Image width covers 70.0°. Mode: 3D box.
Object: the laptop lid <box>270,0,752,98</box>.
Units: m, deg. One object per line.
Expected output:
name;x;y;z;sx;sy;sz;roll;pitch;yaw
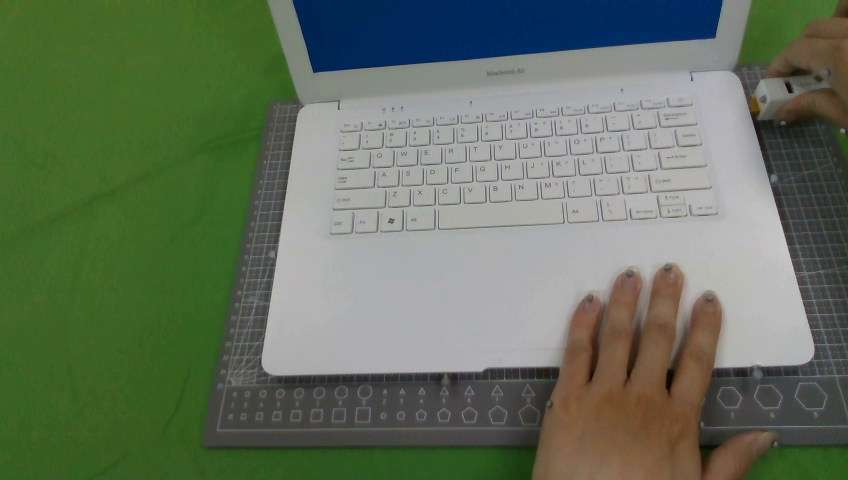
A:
laptop lid;0.054;-0.209;0.416;0.356;0.244;0.013;-4;44;8

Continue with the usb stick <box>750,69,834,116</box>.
usb stick;0.263;-0.107;0.445;0.059;0.027;0.021;-6;61;9

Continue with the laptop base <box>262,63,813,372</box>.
laptop base;0.066;-0.021;0.443;0.354;0.023;0.233;-3;66;7
